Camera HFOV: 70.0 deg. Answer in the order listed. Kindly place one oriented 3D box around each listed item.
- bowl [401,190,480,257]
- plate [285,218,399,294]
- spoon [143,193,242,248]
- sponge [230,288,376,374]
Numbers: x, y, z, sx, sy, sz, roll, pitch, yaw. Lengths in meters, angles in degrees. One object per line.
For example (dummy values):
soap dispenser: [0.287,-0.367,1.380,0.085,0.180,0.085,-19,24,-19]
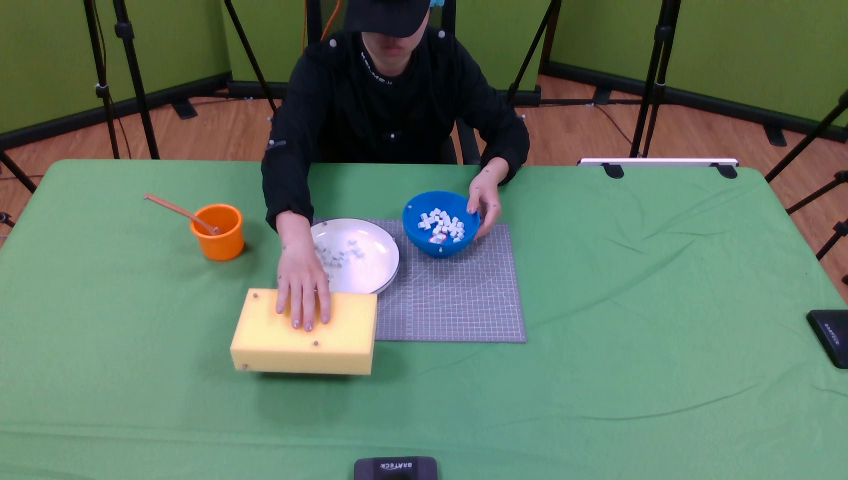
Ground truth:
bowl: [0.029,-0.019,1.175,0.151,0.077,0.150,2,46,-2]
plate: [-0.150,0.041,1.131,0.209,0.038,0.208,2,45,-2]
spoon: [-0.421,-0.036,1.113,0.021,0.195,0.041,-37,37,23]
sponge: [-0.182,0.142,0.951,0.207,0.061,0.117,2,45,-2]
